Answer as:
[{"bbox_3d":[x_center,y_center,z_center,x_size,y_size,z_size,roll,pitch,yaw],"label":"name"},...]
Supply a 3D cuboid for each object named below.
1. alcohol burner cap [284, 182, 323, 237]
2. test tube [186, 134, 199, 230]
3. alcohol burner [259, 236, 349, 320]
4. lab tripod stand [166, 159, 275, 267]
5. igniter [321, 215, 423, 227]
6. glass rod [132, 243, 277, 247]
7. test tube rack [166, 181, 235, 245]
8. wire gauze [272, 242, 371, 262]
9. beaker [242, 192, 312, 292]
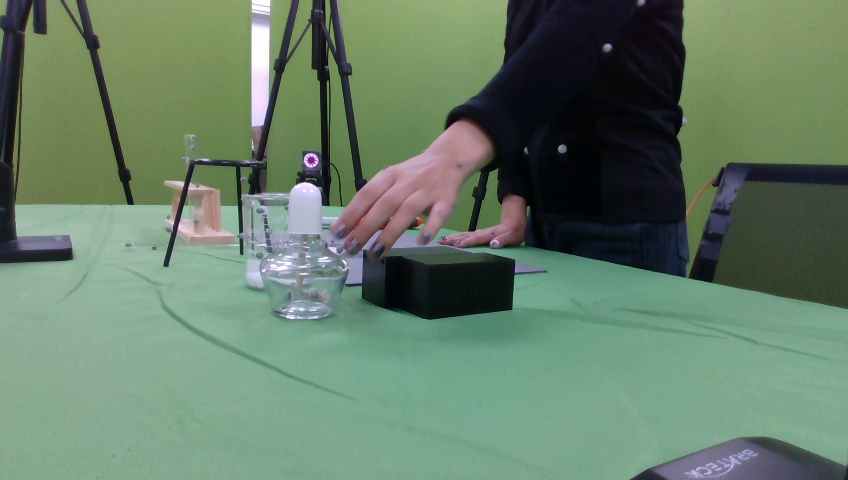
[{"bbox_3d":[-0.105,-0.027,0.529,0.034,0.048,0.034,1,3,0],"label":"alcohol burner cap"},{"bbox_3d":[-0.360,-0.089,0.946,0.017,0.150,0.017,0,10,0],"label":"test tube"},{"bbox_3d":[-0.106,0.009,0.532,0.078,0.119,0.078,1,8,0],"label":"alcohol burner"},{"bbox_3d":[-0.249,-0.036,0.764,0.148,0.131,0.148,2,9,0],"label":"lab tripod stand"},{"bbox_3d":[-0.136,-0.039,1.240,0.278,0.025,0.057,0,-2,-22],"label":"igniter"},{"bbox_3d":[-0.316,0.007,0.885,0.201,0.008,0.008,0,7,-27],"label":"glass rod"},{"bbox_3d":[-0.383,-0.051,1.024,0.067,0.085,0.241,-2,9,-31],"label":"test tube rack"},{"bbox_3d":[-0.156,0.014,0.878,0.122,0.011,0.124,-3,10,-29],"label":"wire gauze"},{"bbox_3d":[-0.157,0.000,0.642,0.084,0.100,0.074,4,7,19],"label":"beaker"}]
